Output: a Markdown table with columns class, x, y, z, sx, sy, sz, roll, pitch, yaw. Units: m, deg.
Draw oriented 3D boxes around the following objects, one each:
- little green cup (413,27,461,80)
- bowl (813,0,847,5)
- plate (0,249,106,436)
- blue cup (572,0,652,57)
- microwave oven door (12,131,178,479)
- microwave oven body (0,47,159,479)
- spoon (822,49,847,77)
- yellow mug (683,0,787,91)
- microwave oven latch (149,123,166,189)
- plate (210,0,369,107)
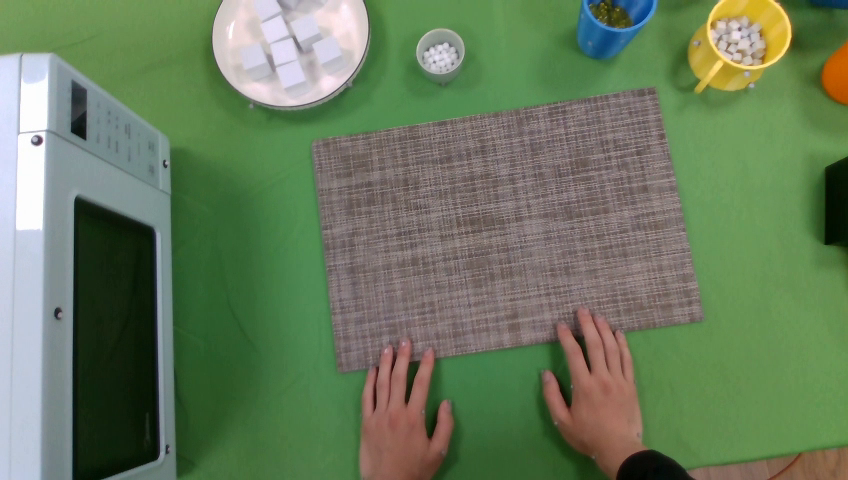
| class | x | y | z | sx | sy | sz | roll | pitch | yaw |
| --- | --- | --- | --- | --- | --- | --- | --- | --- | --- |
| little green cup | 0.017 | -0.239 | 0.786 | 0.061 | 0.039 | 0.061 | 0 | 81 | 3 |
| bowl | 0.518 | -0.353 | 0.757 | 0.151 | 0.077 | 0.151 | 0 | 82 | 4 |
| plate | -0.462 | 0.115 | 0.692 | 0.209 | 0.038 | 0.208 | 0 | 81 | 2 |
| blue cup | 0.223 | -0.275 | 0.749 | 0.092 | 0.100 | 0.092 | 0 | 82 | 2 |
| microwave oven door | -0.332 | 0.094 | 0.630 | 0.039 | 0.244 | 0.354 | -6 | 81 | 3 |
| microwave oven body | -0.480 | 0.067 | 0.647 | 0.326 | 0.261 | 0.440 | -6 | 81 | 2 |
| spoon | 0.560 | -0.196 | 0.695 | 0.041 | 0.192 | 0.022 | -50 | 126 | -5 |
| yellow mug | 0.374 | -0.238 | 0.752 | 0.099 | 0.064 | 0.131 | 39 | 86 | 9 |
| microwave oven latch | -0.343 | -0.105 | 0.764 | 0.030 | 0.029 | 0.079 | -4 | 82 | 2 |
| plate | -0.174 | -0.270 | 0.800 | 0.207 | 0.039 | 0.207 | 0 | 81 | 3 |
